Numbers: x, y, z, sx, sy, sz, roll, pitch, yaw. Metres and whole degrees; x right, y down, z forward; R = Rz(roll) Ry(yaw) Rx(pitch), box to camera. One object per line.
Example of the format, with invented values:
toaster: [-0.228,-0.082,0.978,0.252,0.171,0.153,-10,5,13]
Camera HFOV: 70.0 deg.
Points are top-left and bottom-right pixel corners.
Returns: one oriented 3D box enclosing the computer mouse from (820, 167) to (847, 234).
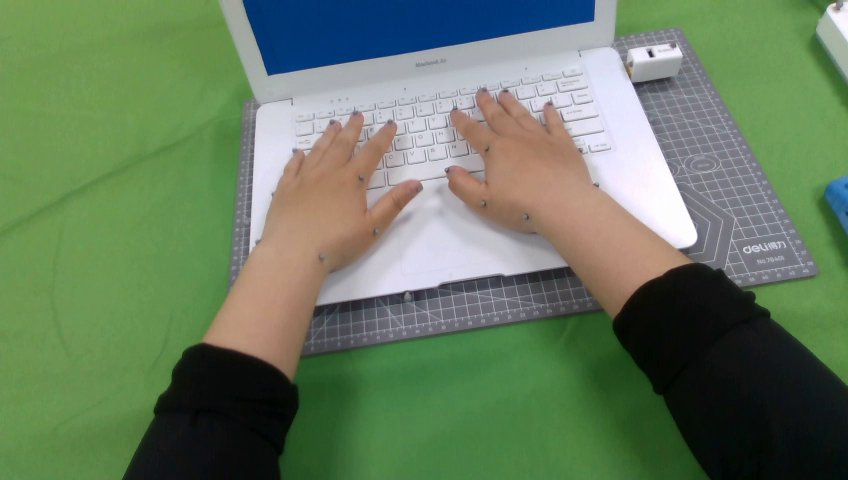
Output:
computer mouse: [0.346,-0.015,0.441,0.063,0.041,0.116,-10,50,4]

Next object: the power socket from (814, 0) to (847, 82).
power socket: [0.412,-0.139,0.518,0.072,0.033,0.224,-6,56,4]

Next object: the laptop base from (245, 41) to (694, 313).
laptop base: [0.021,-0.064,0.530,0.354,0.023,0.233,-10,59,1]

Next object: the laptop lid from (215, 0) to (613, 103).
laptop lid: [-0.010,-0.245,0.516,0.357,0.244,0.013,-11,43,2]

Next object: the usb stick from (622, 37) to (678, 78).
usb stick: [0.201,-0.167,0.560,0.059,0.027,0.021,-10,56,5]
